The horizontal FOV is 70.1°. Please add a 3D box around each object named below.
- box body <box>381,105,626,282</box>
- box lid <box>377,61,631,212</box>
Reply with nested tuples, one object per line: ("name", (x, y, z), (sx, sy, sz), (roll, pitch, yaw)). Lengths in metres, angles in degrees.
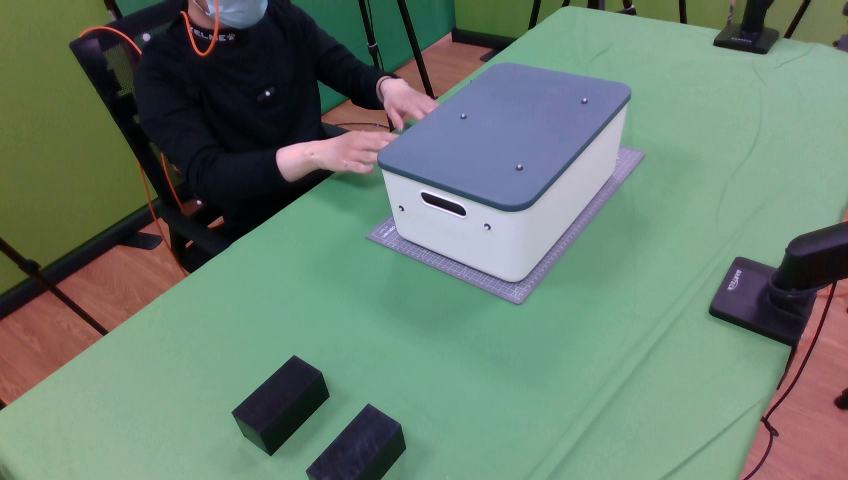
("box body", (0.137, -0.121, 0.978), (0.252, 0.161, 0.365), (22, 49, 30))
("box lid", (0.131, -0.178, 0.930), (0.261, 0.015, 0.372), (22, 49, 30))
